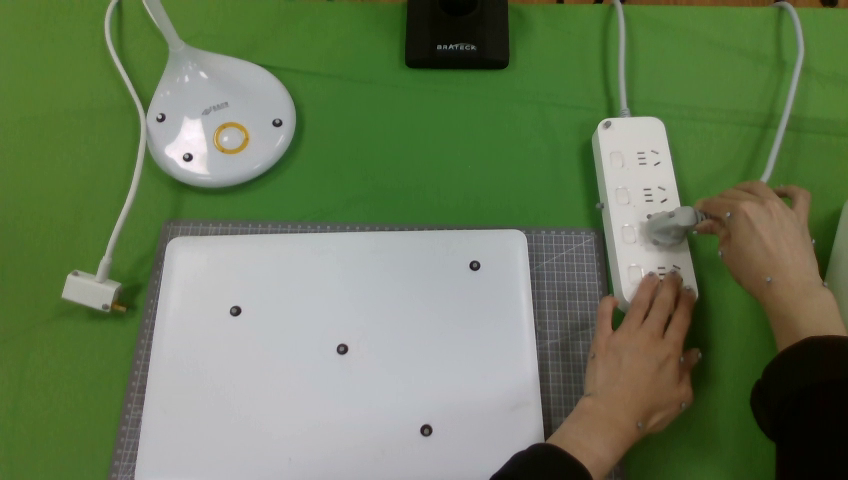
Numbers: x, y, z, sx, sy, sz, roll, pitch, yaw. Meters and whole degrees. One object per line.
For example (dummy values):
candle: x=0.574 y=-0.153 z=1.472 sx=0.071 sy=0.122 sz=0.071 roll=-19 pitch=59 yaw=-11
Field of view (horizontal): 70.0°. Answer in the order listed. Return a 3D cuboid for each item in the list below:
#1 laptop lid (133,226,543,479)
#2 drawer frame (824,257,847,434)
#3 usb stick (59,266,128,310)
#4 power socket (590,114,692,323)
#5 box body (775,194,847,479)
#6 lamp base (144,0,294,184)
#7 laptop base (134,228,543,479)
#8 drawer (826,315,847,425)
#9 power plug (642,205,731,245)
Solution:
laptop lid: x=-0.076 y=0.099 z=0.553 sx=0.357 sy=0.013 sz=0.240 roll=0 pitch=70 yaw=1
drawer frame: x=0.472 y=0.095 z=0.518 sx=0.201 sy=0.083 sz=0.212 roll=22 pitch=64 yaw=8
usb stick: x=-0.312 y=0.048 z=0.579 sx=0.059 sy=0.021 sz=0.027 roll=25 pitch=97 yaw=-15
power socket: x=0.214 y=-0.030 z=0.609 sx=0.072 sy=0.033 sz=0.225 roll=0 pitch=67 yaw=-1
box body: x=0.462 y=0.108 z=0.479 sx=0.253 sy=0.161 sz=0.362 roll=23 pitch=69 yaw=10
lamp base: x=-0.232 y=-0.172 z=0.593 sx=0.160 sy=0.181 sz=0.178 roll=-36 pitch=68 yaw=-14
laptop base: x=-0.075 y=0.102 z=0.565 sx=0.354 sy=0.023 sz=0.234 roll=-1 pitch=70 yaw=0
drawer: x=0.476 y=0.091 z=0.516 sx=0.194 sy=0.074 sz=0.211 roll=21 pitch=73 yaw=9
power plug: x=0.245 y=-0.010 z=0.574 sx=0.072 sy=0.053 sz=0.035 roll=9 pitch=68 yaw=7
